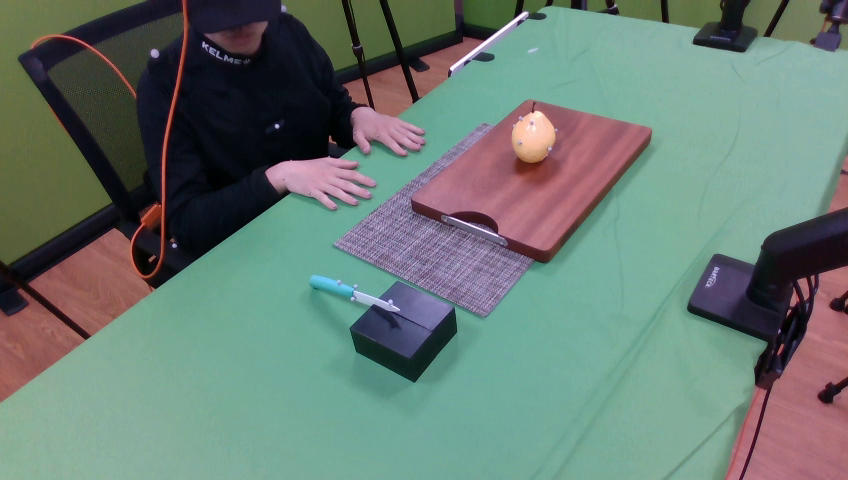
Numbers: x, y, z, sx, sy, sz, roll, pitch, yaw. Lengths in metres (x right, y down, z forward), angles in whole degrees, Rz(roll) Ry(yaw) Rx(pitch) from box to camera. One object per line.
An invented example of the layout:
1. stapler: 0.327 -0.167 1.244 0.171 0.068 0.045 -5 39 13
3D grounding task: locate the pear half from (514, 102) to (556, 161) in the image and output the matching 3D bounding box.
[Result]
1. pear half: 0.196 -0.198 1.060 0.076 0.110 0.056 12 44 17

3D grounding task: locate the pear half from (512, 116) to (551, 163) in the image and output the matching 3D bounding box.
1. pear half: 0.182 -0.169 1.043 0.070 0.088 0.031 12 45 18

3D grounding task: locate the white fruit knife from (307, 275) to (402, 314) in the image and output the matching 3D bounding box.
1. white fruit knife: -0.102 0.076 0.847 0.205 0.027 0.016 12 46 43
